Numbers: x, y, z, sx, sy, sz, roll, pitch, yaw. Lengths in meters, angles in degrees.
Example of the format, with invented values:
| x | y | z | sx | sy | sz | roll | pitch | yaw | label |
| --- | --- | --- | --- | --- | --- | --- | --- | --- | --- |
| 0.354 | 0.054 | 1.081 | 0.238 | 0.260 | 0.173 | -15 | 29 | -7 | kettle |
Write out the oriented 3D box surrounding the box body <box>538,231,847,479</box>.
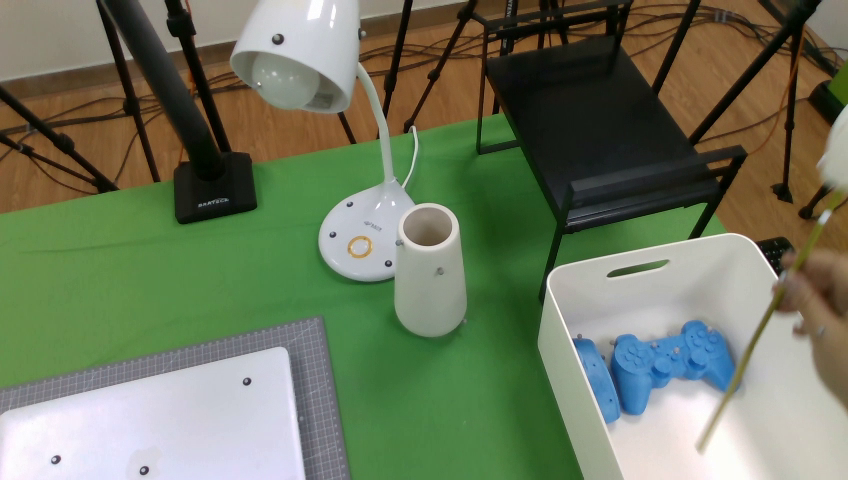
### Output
| x | y | z | sx | sy | sz | roll | pitch | yaw | label |
| --- | --- | --- | --- | --- | --- | --- | --- | --- | --- |
| 0.297 | 0.195 | 0.665 | 0.254 | 0.162 | 0.360 | -11 | 55 | -6 | box body |

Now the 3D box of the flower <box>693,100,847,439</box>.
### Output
| x | y | z | sx | sy | sz | roll | pitch | yaw | label |
| --- | --- | --- | --- | --- | --- | --- | --- | --- | --- |
| 0.271 | 0.049 | 0.472 | 0.038 | 0.365 | 0.043 | 9 | 39 | 6 | flower |

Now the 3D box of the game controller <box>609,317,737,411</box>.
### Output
| x | y | z | sx | sy | sz | roll | pitch | yaw | label |
| --- | --- | --- | --- | --- | --- | --- | --- | --- | --- |
| 0.310 | 0.151 | 0.761 | 0.155 | 0.052 | 0.096 | -9 | 54 | -7 | game controller |

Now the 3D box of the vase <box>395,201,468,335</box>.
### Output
| x | y | z | sx | sy | sz | roll | pitch | yaw | label |
| --- | --- | --- | --- | --- | --- | --- | --- | --- | --- |
| 0.006 | 0.038 | 0.757 | 0.098 | 0.202 | 0.097 | -1 | 54 | 2 | vase |

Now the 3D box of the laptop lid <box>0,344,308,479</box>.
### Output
| x | y | z | sx | sy | sz | roll | pitch | yaw | label |
| --- | --- | --- | --- | --- | --- | --- | --- | --- | --- |
| -0.318 | 0.262 | 0.699 | 0.357 | 0.013 | 0.239 | -11 | 58 | -7 | laptop lid |

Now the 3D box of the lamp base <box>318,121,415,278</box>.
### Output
| x | y | z | sx | sy | sz | roll | pitch | yaw | label |
| --- | --- | --- | --- | --- | --- | --- | --- | --- | --- |
| -0.074 | -0.066 | 0.842 | 0.160 | 0.182 | 0.178 | 16 | 54 | 12 | lamp base |

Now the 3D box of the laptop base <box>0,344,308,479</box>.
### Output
| x | y | z | sx | sy | sz | roll | pitch | yaw | label |
| --- | --- | --- | --- | --- | --- | --- | --- | --- | --- |
| -0.318 | 0.267 | 0.710 | 0.355 | 0.023 | 0.233 | -12 | 59 | -8 | laptop base |

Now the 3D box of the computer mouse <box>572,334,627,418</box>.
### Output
| x | y | z | sx | sy | sz | roll | pitch | yaw | label |
| --- | --- | --- | --- | --- | --- | --- | --- | --- | --- |
| 0.202 | 0.166 | 0.753 | 0.063 | 0.041 | 0.116 | -14 | 46 | -6 | computer mouse |

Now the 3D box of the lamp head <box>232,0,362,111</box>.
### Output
| x | y | z | sx | sy | sz | roll | pitch | yaw | label |
| --- | --- | --- | --- | --- | --- | --- | --- | --- | --- |
| -0.106 | -0.195 | 0.567 | 0.112 | 0.113 | 0.122 | 13 | 74 | 10 | lamp head |
